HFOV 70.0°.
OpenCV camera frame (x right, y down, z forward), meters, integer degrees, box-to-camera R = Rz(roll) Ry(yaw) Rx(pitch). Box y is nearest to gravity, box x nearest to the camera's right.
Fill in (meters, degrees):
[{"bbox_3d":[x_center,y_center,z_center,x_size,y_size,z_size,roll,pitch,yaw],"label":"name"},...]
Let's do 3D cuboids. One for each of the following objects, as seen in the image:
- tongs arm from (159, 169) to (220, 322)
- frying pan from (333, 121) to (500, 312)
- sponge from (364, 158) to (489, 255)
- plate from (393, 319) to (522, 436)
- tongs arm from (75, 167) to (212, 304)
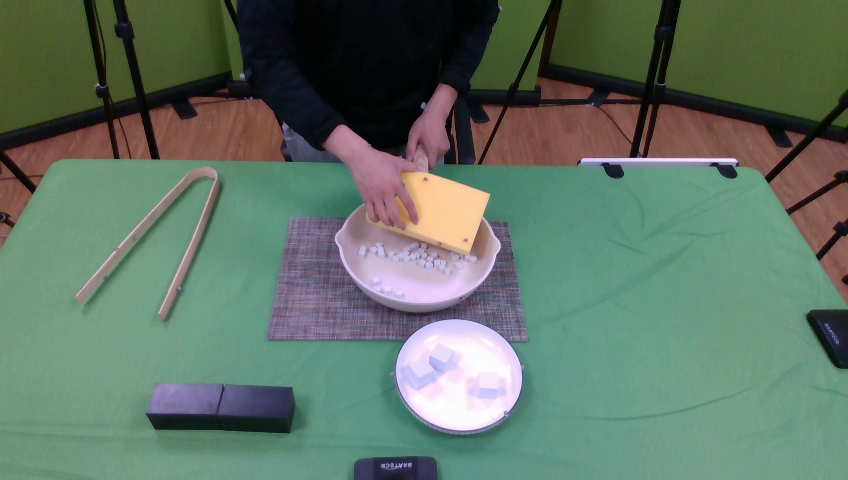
[{"bbox_3d":[-0.446,-0.005,1.165,0.028,0.028,0.385,2,46,0],"label":"tongs arm"},{"bbox_3d":[-0.011,-0.063,1.195,0.307,0.103,0.485,4,55,-2],"label":"frying pan"},{"bbox_3d":[0.005,-0.062,1.143,0.207,0.061,0.118,19,82,1],"label":"sponge"},{"bbox_3d":[0.053,0.222,0.979,0.208,0.039,0.206,3,46,-2],"label":"plate"},{"bbox_3d":[-0.525,-0.021,1.167,0.051,0.026,0.383,14,46,7],"label":"tongs arm"}]
